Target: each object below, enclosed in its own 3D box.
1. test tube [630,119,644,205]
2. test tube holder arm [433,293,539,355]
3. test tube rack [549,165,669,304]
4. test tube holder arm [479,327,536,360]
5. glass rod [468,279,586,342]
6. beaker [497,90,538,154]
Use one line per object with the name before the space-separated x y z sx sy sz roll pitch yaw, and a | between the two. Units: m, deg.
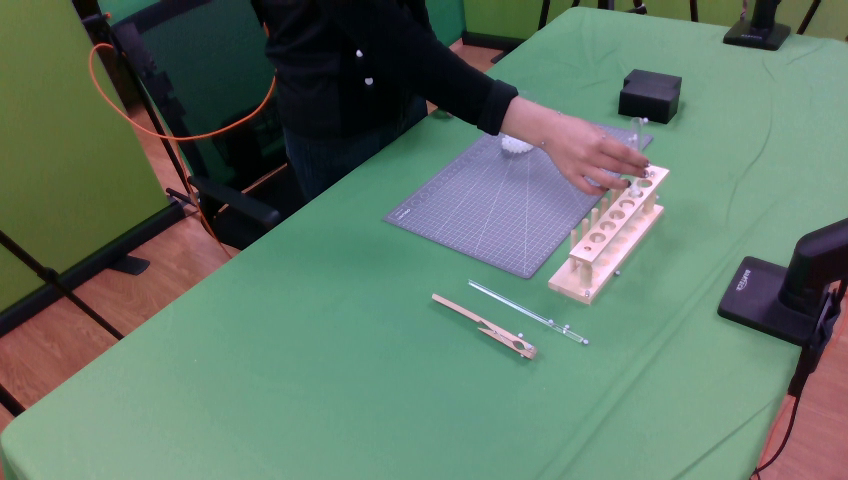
test tube | 0.299 -0.105 0.851 0.017 0.151 0.017 -9 45 9
test tube holder arm | 0.081 0.113 0.832 0.177 0.015 0.013 28 83 36
test tube rack | 0.279 -0.018 0.902 0.066 0.085 0.243 24 50 33
test tube holder arm | 0.110 0.135 0.805 0.087 0.015 0.010 28 84 36
glass rod | 0.140 0.096 0.852 0.198 0.008 0.008 27 52 35
beaker | 0.176 -0.220 1.143 0.073 0.101 0.084 27 52 35
